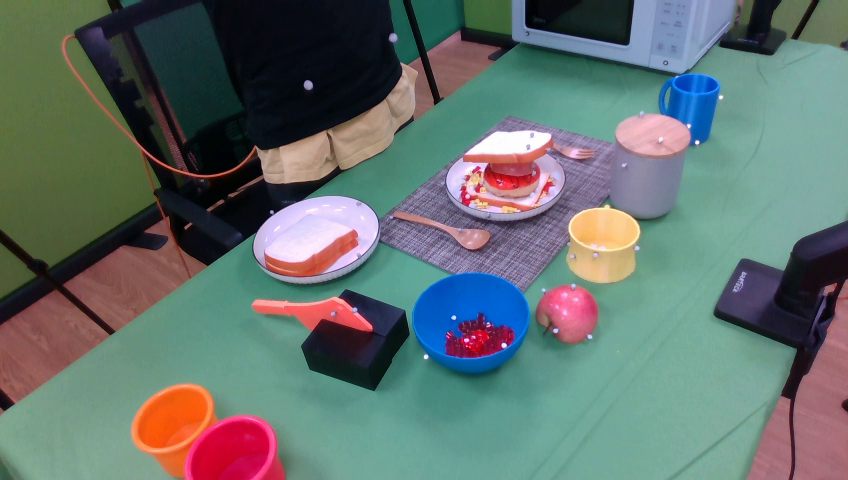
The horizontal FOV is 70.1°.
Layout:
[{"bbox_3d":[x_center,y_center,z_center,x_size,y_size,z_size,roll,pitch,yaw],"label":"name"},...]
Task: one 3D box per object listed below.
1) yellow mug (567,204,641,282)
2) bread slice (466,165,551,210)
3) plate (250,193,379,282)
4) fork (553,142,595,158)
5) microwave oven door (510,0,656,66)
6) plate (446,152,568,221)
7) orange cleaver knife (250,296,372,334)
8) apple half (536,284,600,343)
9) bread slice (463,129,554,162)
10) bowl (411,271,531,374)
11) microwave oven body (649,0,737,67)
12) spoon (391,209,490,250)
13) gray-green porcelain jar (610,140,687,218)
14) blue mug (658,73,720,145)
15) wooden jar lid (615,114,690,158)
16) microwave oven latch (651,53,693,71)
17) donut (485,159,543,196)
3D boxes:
[{"bbox_3d":[0.268,-0.005,0.905,0.099,0.064,0.130,6,42,15],"label":"yellow mug"},{"bbox_3d":[0.141,-0.093,1.041,0.133,0.018,0.107,8,42,20],"label":"bread slice"},{"bbox_3d":[-0.174,-0.001,0.984,0.209,0.038,0.208,-4,40,4],"label":"plate"},{"bbox_3d":[0.225,-0.186,1.151,0.206,0.019,0.028,21,59,27],"label":"fork"},{"bbox_3d":[0.350,-0.539,1.349,0.353,0.245,0.039,24,50,31],"label":"microwave oven door"},{"bbox_3d":[0.143,-0.097,1.045,0.207,0.039,0.206,-4,40,4],"label":"plate"},{"bbox_3d":[-0.159,0.103,0.828,0.210,0.078,0.012,-3,43,39],"label":"orange cleaver knife"},{"bbox_3d":[0.196,0.091,0.815,0.075,0.053,0.080,-22,42,-20],"label":"apple half"},{"bbox_3d":[0.143,-0.154,0.974,0.130,0.019,0.105,9,35,38],"label":"bread slice"},{"bbox_3d":[0.062,0.119,0.780,0.151,0.077,0.150,-4,40,4],"label":"bowl"},{"bbox_3d":[0.475,-0.602,1.411,0.438,0.261,0.327,23,50,32],"label":"microwave oven body"},{"bbox_3d":[0.023,-0.024,0.989,0.192,0.022,0.041,21,71,28],"label":"spoon"},{"bbox_3d":[0.354,-0.106,0.964,0.106,0.127,0.105,-4,41,4],"label":"gray-green porcelain jar"},{"bbox_3d":[0.483,-0.250,1.127,0.082,0.106,0.115,-26,44,-19],"label":"blue mug"},{"bbox_3d":[0.347,-0.155,0.923,0.108,0.021,0.108,-3,44,4],"label":"wooden jar lid"},{"bbox_3d":[0.532,-0.386,1.301,0.078,0.029,0.030,27,52,34],"label":"microwave oven latch"},{"bbox_3d":[0.151,-0.112,1.018,0.099,0.048,0.098,-4,40,4],"label":"donut"}]
